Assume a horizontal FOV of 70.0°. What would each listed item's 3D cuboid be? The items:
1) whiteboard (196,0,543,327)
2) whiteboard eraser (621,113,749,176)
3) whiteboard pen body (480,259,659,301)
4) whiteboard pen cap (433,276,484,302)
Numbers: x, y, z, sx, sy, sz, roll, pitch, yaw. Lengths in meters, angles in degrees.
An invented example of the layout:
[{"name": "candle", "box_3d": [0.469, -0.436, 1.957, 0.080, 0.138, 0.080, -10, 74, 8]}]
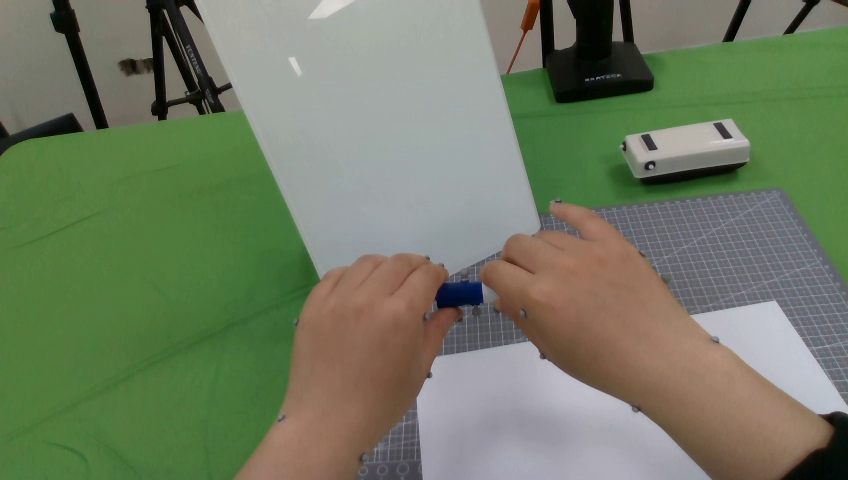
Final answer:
[{"name": "whiteboard", "box_3d": [-0.049, -0.117, 0.566, 0.217, 0.308, 0.142, -25, 23, -13]}, {"name": "whiteboard eraser", "box_3d": [0.265, -0.095, 0.619, 0.112, 0.042, 0.055, -8, 44, 4]}, {"name": "whiteboard pen body", "box_3d": [0.082, 0.028, 0.400, 0.141, 0.017, 0.017, -7, 42, 3]}, {"name": "whiteboard pen cap", "box_3d": [0.024, 0.033, 0.403, 0.033, 0.018, 0.018, -1, 43, 9]}]
